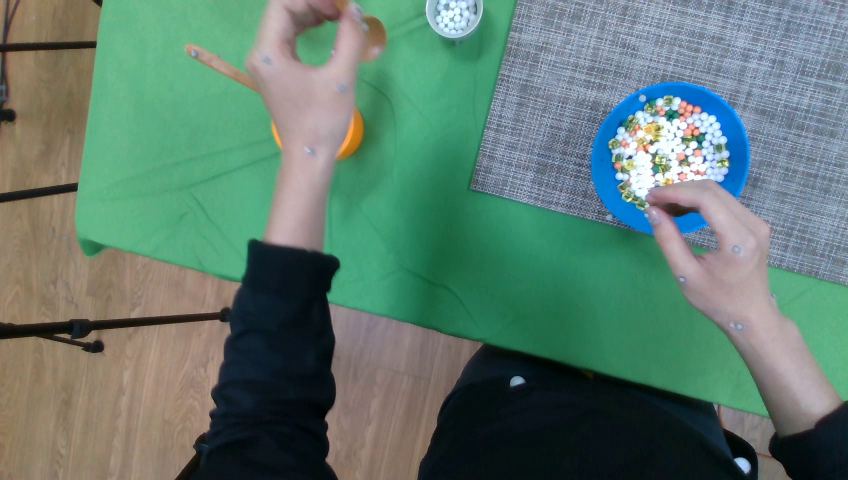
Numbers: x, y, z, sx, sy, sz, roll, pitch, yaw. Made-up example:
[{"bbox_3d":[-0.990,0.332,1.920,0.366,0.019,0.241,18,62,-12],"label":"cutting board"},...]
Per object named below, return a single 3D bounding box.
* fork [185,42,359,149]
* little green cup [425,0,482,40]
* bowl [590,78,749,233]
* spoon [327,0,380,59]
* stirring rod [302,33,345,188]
[{"bbox_3d":[-0.156,-0.152,0.649,0.209,0.018,0.028,25,105,-39],"label":"fork"},{"bbox_3d":[0.034,-0.250,0.666,0.061,0.038,0.061,1,97,9],"label":"little green cup"},{"bbox_3d":[0.246,-0.085,0.632,0.151,0.077,0.151,1,97,8],"label":"bowl"},{"bbox_3d":[-0.070,-0.186,0.467,0.041,0.194,0.021,-43,82,5],"label":"spoon"},{"bbox_3d":[-0.104,-0.141,0.640,0.014,0.006,0.176,16,99,7],"label":"stirring rod"}]
